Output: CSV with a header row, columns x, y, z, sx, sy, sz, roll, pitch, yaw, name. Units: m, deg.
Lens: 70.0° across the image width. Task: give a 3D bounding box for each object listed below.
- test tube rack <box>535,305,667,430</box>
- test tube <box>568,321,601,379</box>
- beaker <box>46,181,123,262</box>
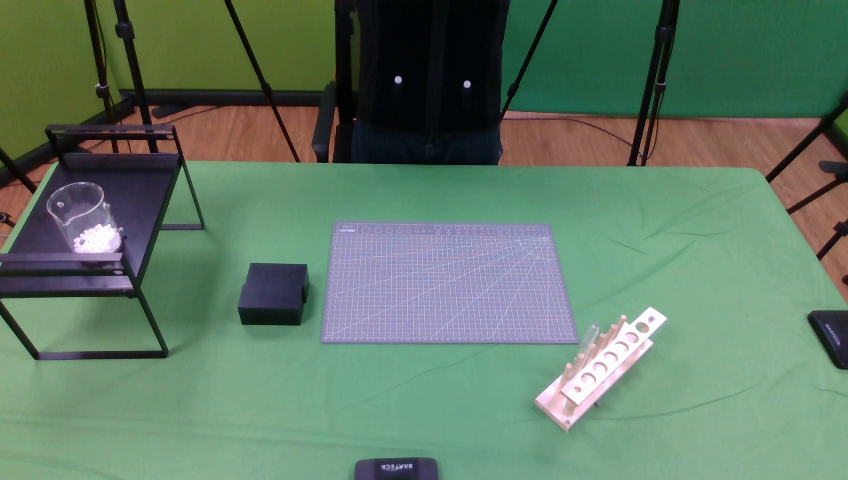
x,y,z,sx,sy,sz,roll,pitch,yaw,name
0.290,0.193,0.984,0.242,0.085,0.066,-32,56,-30,test tube rack
0.247,0.173,0.938,0.017,0.151,0.017,2,47,-2,test tube
-0.488,-0.021,0.877,0.074,0.101,0.083,3,47,0,beaker
